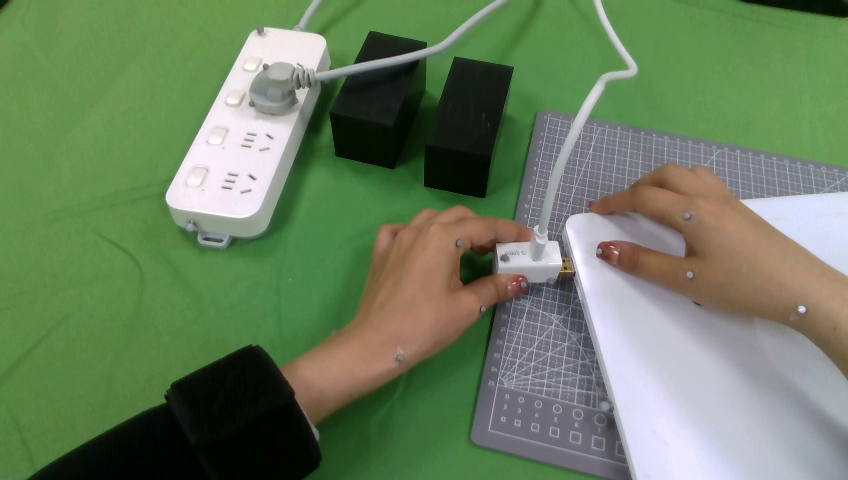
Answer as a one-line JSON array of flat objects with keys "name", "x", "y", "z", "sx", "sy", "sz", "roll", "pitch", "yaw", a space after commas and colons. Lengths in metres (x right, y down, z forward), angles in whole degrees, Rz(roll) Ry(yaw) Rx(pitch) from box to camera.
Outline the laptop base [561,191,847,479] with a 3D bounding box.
[{"name": "laptop base", "x": 0.286, "y": 0.068, "z": 0.410, "sx": 0.355, "sy": 0.023, "sz": 0.233, "roll": -5, "pitch": 60, "yaw": -5}]

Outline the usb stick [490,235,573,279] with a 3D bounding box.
[{"name": "usb stick", "x": 0.077, "y": 0.012, "z": 0.419, "sx": 0.059, "sy": 0.027, "sz": 0.021, "roll": 0, "pitch": 54, "yaw": -9}]

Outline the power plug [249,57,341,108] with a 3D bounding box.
[{"name": "power plug", "x": -0.104, "y": -0.115, "z": 0.478, "sx": 0.072, "sy": 0.053, "sz": 0.035, "roll": 19, "pitch": 58, "yaw": 10}]

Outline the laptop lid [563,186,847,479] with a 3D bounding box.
[{"name": "laptop lid", "x": 0.287, "y": 0.063, "z": 0.399, "sx": 0.357, "sy": 0.013, "sz": 0.239, "roll": -3, "pitch": 59, "yaw": -4}]

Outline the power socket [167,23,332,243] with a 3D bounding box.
[{"name": "power socket", "x": -0.135, "y": -0.099, "z": 0.494, "sx": 0.072, "sy": 0.033, "sz": 0.225, "roll": 10, "pitch": 57, "yaw": 3}]
